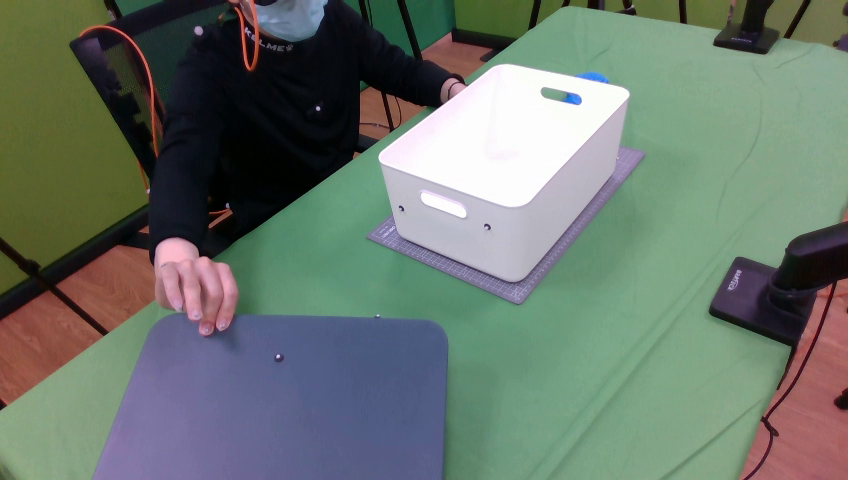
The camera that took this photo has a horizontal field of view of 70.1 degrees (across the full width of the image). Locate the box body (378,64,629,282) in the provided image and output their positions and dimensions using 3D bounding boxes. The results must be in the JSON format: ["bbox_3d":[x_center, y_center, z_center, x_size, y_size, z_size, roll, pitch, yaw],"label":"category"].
[{"bbox_3d":[0.137,-0.121,0.978,0.252,0.161,0.365,22,48,30],"label":"box body"}]

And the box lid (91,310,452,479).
[{"bbox_3d":[-0.156,0.199,0.666,0.371,0.015,0.262,2,54,2],"label":"box lid"}]

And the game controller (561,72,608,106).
[{"bbox_3d":[0.326,-0.306,1.260,0.096,0.052,0.155,14,45,17],"label":"game controller"}]
